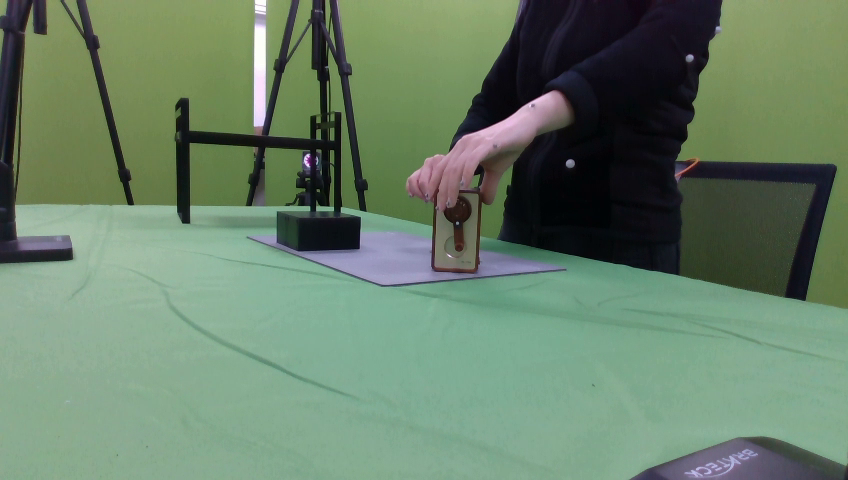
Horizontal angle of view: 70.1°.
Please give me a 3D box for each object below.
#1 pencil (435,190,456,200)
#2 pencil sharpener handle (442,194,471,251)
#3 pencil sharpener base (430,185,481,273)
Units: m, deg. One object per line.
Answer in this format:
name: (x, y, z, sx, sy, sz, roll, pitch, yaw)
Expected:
pencil: (0.033, -0.068, 0.924, 0.012, 0.012, 0.193, 1, 6, -6)
pencil sharpener handle: (0.041, -0.021, 0.731, 0.036, 0.067, 0.030, -5, 7, 4)
pencil sharpener base: (0.041, -0.016, 0.784, 0.061, 0.107, 0.076, 3, 8, 3)
